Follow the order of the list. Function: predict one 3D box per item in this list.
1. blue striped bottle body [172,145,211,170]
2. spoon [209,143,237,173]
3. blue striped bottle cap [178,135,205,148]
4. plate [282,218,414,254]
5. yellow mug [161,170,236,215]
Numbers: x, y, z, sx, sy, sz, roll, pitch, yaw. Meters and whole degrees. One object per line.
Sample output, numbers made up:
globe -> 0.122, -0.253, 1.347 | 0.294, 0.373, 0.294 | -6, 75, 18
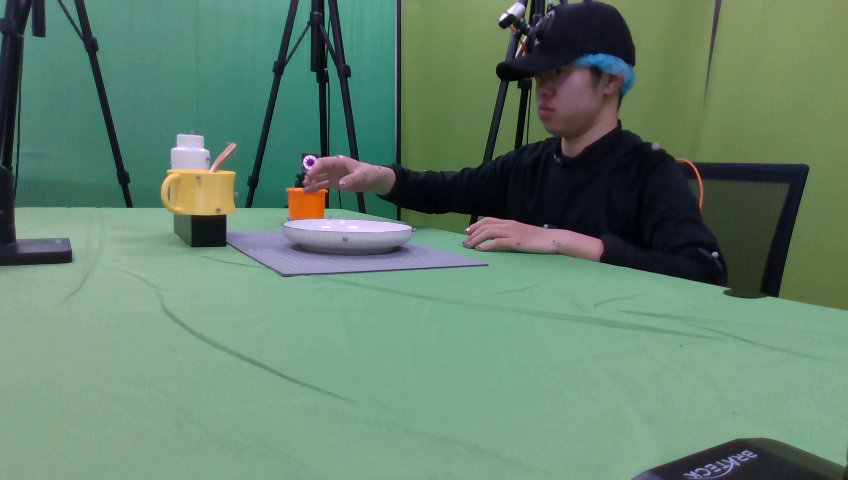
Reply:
blue striped bottle body -> -0.407, -0.120, 1.059 | 0.063, 0.120, 0.063 | 3, 8, 0
spoon -> -0.341, -0.113, 0.990 | 0.041, 0.021, 0.193 | 1, 40, 7
blue striped bottle cap -> -0.405, -0.171, 1.053 | 0.044, 0.020, 0.044 | 3, 10, 0
plate -> -0.121, -0.007, 0.971 | 0.208, 0.039, 0.207 | 2, 7, 0
yellow mug -> -0.354, -0.074, 0.935 | 0.099, 0.064, 0.131 | 5, 9, 21
